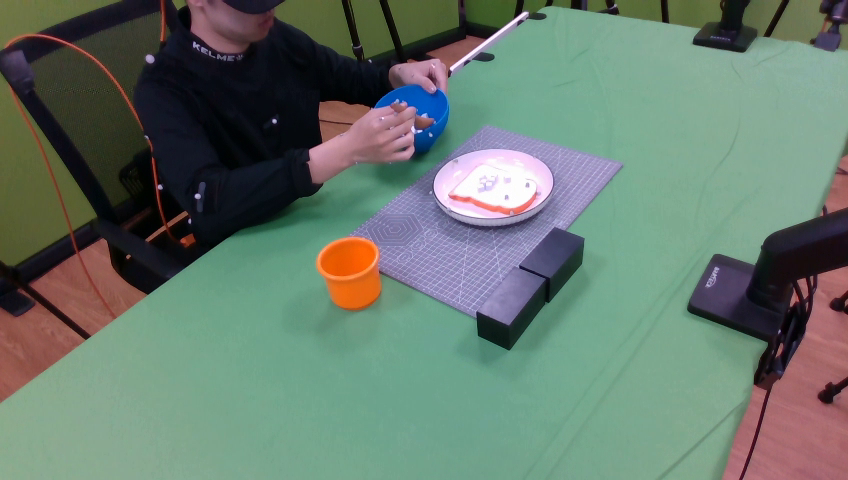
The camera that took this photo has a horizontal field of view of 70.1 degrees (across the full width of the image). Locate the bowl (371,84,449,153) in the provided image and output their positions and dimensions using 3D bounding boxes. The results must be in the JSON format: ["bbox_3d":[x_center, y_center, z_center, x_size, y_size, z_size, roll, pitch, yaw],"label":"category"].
[{"bbox_3d":[-0.020,-0.222,1.166,0.151,0.077,0.150,-7,51,9],"label":"bowl"}]

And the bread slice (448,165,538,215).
[{"bbox_3d":[0.126,-0.085,1.038,0.133,0.018,0.107,16,45,27],"label":"bread slice"}]

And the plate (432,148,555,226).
[{"bbox_3d":[0.119,-0.087,1.037,0.209,0.038,0.208,-4,40,4],"label":"plate"}]

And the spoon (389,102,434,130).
[{"bbox_3d":[-0.024,-0.214,1.039,0.041,0.195,0.021,-26,80,17],"label":"spoon"}]
